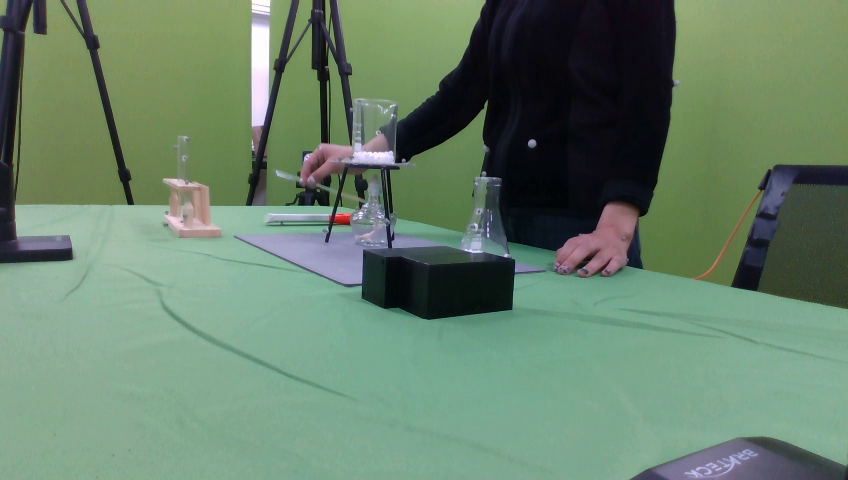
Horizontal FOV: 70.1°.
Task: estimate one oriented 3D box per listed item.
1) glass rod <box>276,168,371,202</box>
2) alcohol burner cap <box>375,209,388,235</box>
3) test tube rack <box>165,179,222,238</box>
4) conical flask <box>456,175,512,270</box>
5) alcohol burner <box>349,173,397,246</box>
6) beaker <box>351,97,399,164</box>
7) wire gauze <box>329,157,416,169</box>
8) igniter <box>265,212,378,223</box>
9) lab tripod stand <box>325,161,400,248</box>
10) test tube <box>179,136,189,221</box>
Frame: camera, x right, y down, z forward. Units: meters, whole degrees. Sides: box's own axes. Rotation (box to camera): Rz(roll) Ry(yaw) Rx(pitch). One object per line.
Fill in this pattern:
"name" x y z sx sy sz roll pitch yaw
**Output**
"glass rod" -0.189 -0.104 1.157 0.201 0.008 0.008 18 -2 -31
"alcohol burner cap" -0.076 -0.035 1.145 0.034 0.048 0.034 2 6 0
"test tube rack" -0.423 -0.062 1.098 0.067 0.085 0.241 -2 9 -28
"conical flask" 0.082 -0.025 0.801 0.075 0.122 0.075 2 7 0
"alcohol burner" -0.081 -0.050 0.982 0.078 0.119 0.078 4 8 0
"beaker" -0.078 -0.172 0.963 0.074 0.100 0.084 6 8 18
"wire gauze" -0.079 -0.125 0.972 0.121 0.011 0.125 6 6 5
"igniter" -0.195 -0.048 1.285 0.278 0.025 0.057 -2 -2 -30
"lab tripod stand" -0.083 -0.059 0.977 0.148 0.131 0.148 4 8 0
"test tube" -0.425 -0.108 1.070 0.017 0.150 0.017 4 9 0
